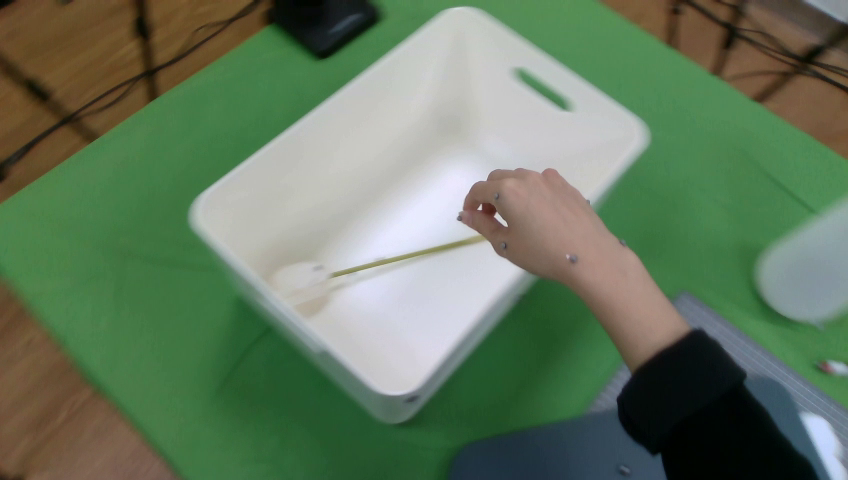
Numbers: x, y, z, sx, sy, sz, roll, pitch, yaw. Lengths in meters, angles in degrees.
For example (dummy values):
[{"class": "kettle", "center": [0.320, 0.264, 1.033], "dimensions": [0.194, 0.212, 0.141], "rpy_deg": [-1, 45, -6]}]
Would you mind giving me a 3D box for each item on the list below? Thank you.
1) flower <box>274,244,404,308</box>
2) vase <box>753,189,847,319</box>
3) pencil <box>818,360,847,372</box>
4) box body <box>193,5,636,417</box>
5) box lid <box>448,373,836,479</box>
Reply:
[{"class": "flower", "center": [-0.003, -0.002, 0.698], "dimensions": [0.362, 0.044, 0.038], "rpy_deg": [-22, 37, -35]}, {"class": "vase", "center": [0.422, 0.004, 0.611], "dimensions": [0.098, 0.201, 0.097], "rpy_deg": [2, 61, -3]}, {"class": "pencil", "center": [0.520, 0.140, 0.654], "dimensions": [0.194, 0.012, 0.012], "rpy_deg": [4, 62, -4]}, {"class": "box body", "center": [0.000, -0.033, 0.619], "dimensions": [0.253, 0.161, 0.363], "rpy_deg": [38, 66, 15]}, {"class": "box lid", "center": [0.226, 0.279, 0.558], "dimensions": [0.372, 0.015, 0.261], "rpy_deg": [-10, 64, -8]}]
